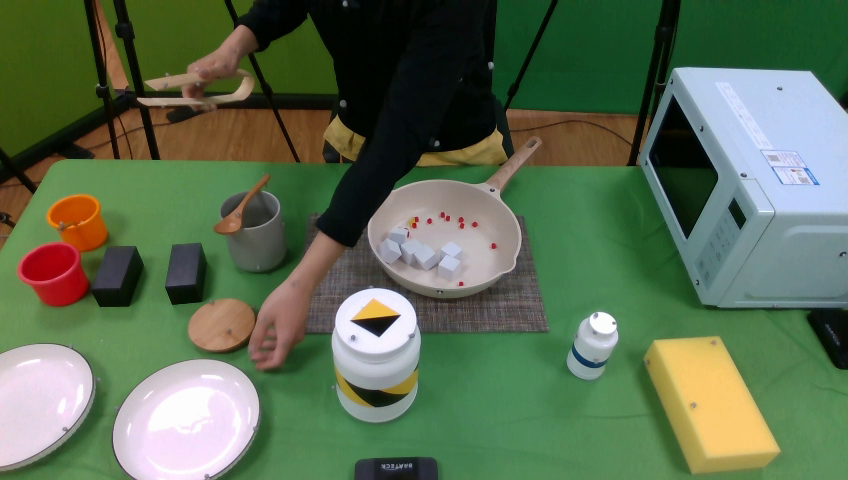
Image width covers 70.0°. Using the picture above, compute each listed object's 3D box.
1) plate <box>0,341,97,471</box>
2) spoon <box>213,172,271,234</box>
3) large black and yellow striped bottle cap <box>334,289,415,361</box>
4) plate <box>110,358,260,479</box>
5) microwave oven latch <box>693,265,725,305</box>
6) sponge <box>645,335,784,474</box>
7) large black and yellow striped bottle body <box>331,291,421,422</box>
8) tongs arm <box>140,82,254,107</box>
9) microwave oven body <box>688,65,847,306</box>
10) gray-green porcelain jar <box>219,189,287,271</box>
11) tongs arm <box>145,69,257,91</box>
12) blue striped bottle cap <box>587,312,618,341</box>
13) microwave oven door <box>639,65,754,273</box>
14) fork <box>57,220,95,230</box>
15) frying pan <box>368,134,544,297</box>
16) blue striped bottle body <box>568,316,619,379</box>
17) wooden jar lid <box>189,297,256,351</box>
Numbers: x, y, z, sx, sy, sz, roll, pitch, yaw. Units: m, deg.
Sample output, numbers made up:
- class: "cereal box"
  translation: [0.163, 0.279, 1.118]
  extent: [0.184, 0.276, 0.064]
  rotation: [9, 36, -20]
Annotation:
- class: "plate"
  translation: [-0.599, 0.247, 0.904]
  extent: [0.209, 0.038, 0.208]
  rotation: [2, 47, -2]
- class: "spoon"
  translation: [-0.312, -0.069, 1.069]
  extent: [0.041, 0.022, 0.193]
  rotation: [9, 43, 11]
- class: "large black and yellow striped bottle cap"
  translation: [-0.069, 0.117, 0.850]
  extent: [0.115, 0.019, 0.114]
  rotation: [2, 45, -2]
- class: "plate"
  translation: [-0.349, 0.273, 0.899]
  extent: [0.208, 0.039, 0.206]
  rotation: [2, 46, -2]
- class: "microwave oven latch"
  translation: [0.523, 0.081, 1.116]
  extent: [0.030, 0.029, 0.078]
  rotation: [2, 46, -1]
- class: "sponge"
  translation: [0.449, 0.253, 0.956]
  extent: [0.118, 0.061, 0.205]
  rotation: [-4, 46, -7]
- class: "large black and yellow striped bottle body"
  translation: [-0.071, 0.175, 0.911]
  extent: [0.131, 0.185, 0.130]
  rotation: [2, 47, -2]
- class: "tongs arm"
  translation: [-0.405, -0.267, 1.120]
  extent: [0.028, 0.028, 0.386]
  rotation: [24, 18, 0]
- class: "microwave oven body"
  translation: [0.669, -0.111, 1.176]
  extent: [0.326, 0.261, 0.439]
  rotation: [0, 46, -3]
- class: "gray-green porcelain jar"
  translation: [-0.310, -0.014, 1.114]
  extent: [0.106, 0.127, 0.105]
  rotation: [2, 46, -2]
- class: "tongs arm"
  translation: [-0.395, -0.285, 1.113]
  extent: [0.026, 0.051, 0.383]
  rotation: [28, 23, -1]
- class: "blue striped bottle cap"
  translation: [0.279, 0.134, 0.947]
  extent: [0.044, 0.021, 0.044]
  rotation: [2, 45, -2]
- class: "microwave oven door"
  translation: [0.522, -0.147, 1.193]
  extent: [0.039, 0.245, 0.353]
  rotation: [0, 47, -3]
- class: "fork"
  translation: [-0.624, -0.027, 1.086]
  extent: [0.028, 0.207, 0.018]
  rotation: [-2, 91, -17]
- class: "frying pan"
  translation: [0.104, -0.069, 1.205]
  extent: [0.305, 0.103, 0.487]
  rotation: [32, 61, 23]
- class: "blue striped bottle body"
  translation: [0.276, 0.169, 0.984]
  extent: [0.063, 0.121, 0.062]
  rotation: [2, 46, -2]
- class: "wooden jar lid"
  translation: [-0.342, 0.146, 1.034]
  extent: [0.108, 0.021, 0.107]
  rotation: [3, 45, -3]
